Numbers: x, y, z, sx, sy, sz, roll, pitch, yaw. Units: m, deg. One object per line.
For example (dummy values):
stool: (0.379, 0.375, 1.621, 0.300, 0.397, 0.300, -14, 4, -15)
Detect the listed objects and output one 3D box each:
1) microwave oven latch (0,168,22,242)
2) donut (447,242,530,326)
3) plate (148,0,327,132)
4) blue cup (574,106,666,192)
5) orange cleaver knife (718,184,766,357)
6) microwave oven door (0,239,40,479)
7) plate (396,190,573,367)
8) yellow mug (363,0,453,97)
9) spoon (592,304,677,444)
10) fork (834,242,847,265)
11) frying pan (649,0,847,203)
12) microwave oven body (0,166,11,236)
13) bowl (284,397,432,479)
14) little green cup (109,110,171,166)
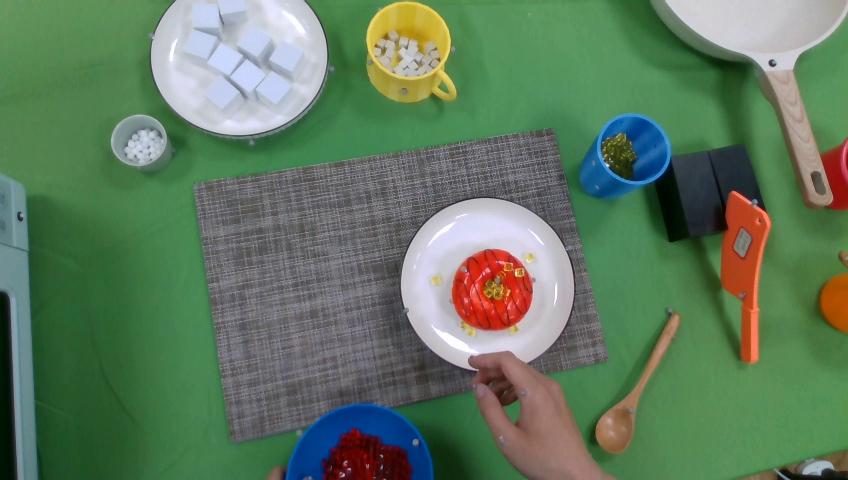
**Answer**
microwave oven latch: (-0.459, -0.037, 0.660, 0.030, 0.029, 0.079, -6, 82, -7)
donut: (0.075, 0.051, 0.705, 0.099, 0.048, 0.099, 1, 84, -5)
plate: (-0.221, -0.227, 0.735, 0.208, 0.039, 0.207, 1, 81, -5)
blue cup: (0.226, -0.100, 0.728, 0.093, 0.100, 0.092, 1, 79, -6)
orange cleaver knife: (0.379, 0.038, 0.731, 0.012, 0.076, 0.212, -11, 111, -7)
microwave oven door: (-0.421, 0.161, 0.530, 0.039, 0.244, 0.354, -8, 81, -6)
plate: (0.070, 0.045, 0.717, 0.209, 0.038, 0.208, 1, 81, -6)
yellow mug: (-0.013, -0.225, 0.742, 0.131, 0.064, 0.100, 42, 79, 1)
spoon: (0.260, 0.158, 0.729, 0.041, 0.022, 0.193, 31, 79, 17)
fork: (0.506, 0.043, 0.709, 0.209, 0.018, 0.028, 29, 75, -45)
frying pan: (0.427, -0.277, 0.775, 0.307, 0.103, 0.484, -5, 73, -6)
microwave oven body: (-0.571, 0.138, 0.523, 0.326, 0.260, 0.440, -7, 82, -7)
bowl: (-0.070, 0.242, 0.655, 0.151, 0.077, 0.151, 1, 81, -5)
little green cup: (-0.327, -0.115, 0.704, 0.061, 0.038, 0.061, 1, 82, -6)
